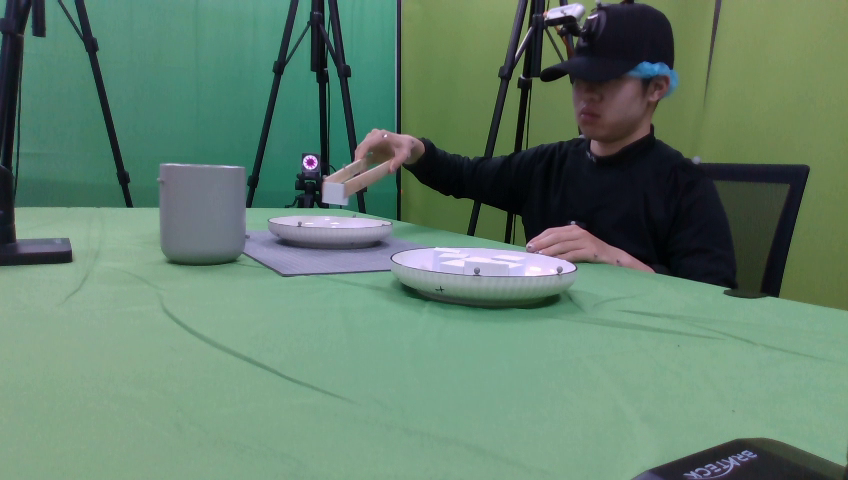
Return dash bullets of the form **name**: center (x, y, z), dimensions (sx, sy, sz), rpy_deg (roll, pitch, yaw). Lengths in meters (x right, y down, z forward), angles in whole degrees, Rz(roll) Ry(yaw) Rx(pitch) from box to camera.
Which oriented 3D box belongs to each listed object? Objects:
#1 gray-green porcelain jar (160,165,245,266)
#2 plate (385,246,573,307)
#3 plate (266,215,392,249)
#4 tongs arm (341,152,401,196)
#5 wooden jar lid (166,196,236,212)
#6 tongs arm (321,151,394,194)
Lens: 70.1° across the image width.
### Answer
- **gray-green porcelain jar**: center (-0.291, -0.034, 0.799), dimensions (0.106, 0.126, 0.106), rpy_deg (2, 8, 0)
- **plate**: center (0.060, 0.041, 0.678), dimensions (0.208, 0.039, 0.207), rpy_deg (3, 7, 0)
- **plate**: center (-0.159, -0.015, 1.019), dimensions (0.209, 0.038, 0.209), rpy_deg (3, 7, 0)
- **tongs arm**: center (-0.090, -0.127, 1.110), dimensions (0.028, 0.028, 0.388), rpy_deg (3, 15, 11)
- **wooden jar lid**: center (-0.369, -0.059, 1.001), dimensions (0.108, 0.020, 0.108), rpy_deg (3, 6, 0)
- **tongs arm**: center (-0.111, -0.129, 1.113), dimensions (0.051, 0.026, 0.385), rpy_deg (5, 15, 5)
